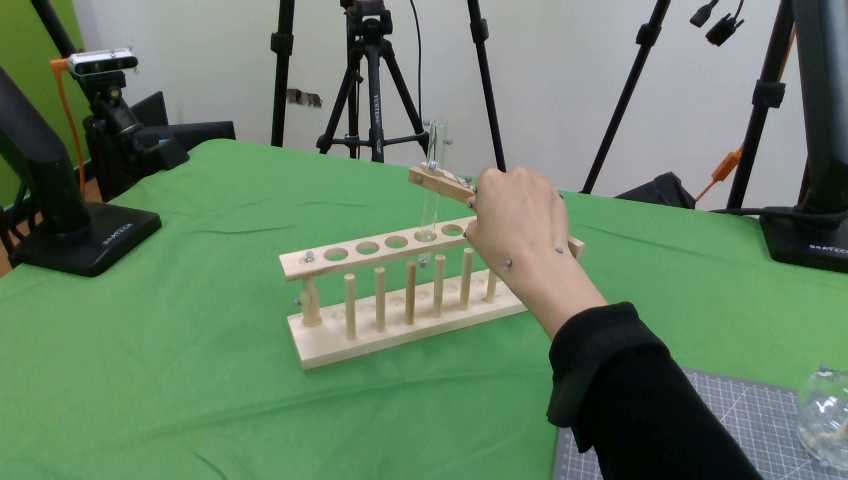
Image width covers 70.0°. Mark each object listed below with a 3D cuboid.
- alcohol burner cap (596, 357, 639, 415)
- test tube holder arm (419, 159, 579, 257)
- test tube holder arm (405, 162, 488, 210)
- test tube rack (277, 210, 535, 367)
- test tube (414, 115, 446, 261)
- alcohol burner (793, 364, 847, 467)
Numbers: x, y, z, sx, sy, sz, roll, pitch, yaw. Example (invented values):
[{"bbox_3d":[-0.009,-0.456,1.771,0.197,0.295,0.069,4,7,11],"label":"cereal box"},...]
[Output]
[{"bbox_3d":[0.164,0.119,0.506,0.034,0.048,0.033,1,35,-1],"label":"alcohol burner cap"},{"bbox_3d":[0.056,-0.031,0.507,0.013,0.015,0.176,-24,42,-37],"label":"test tube holder arm"},{"bbox_3d":[0.020,-0.048,0.528,0.087,0.015,0.010,25,37,29],"label":"test tube holder arm"},{"bbox_3d":[-0.010,0.039,0.585,0.243,0.086,0.066,-12,36,-19],"label":"test tube rack"},{"bbox_3d":[0.004,-0.043,0.555,0.017,0.151,0.017,5,35,-3],"label":"test tube"},{"bbox_3d":[0.327,0.114,0.454,0.078,0.120,0.077,2,35,-1],"label":"alcohol burner"}]
